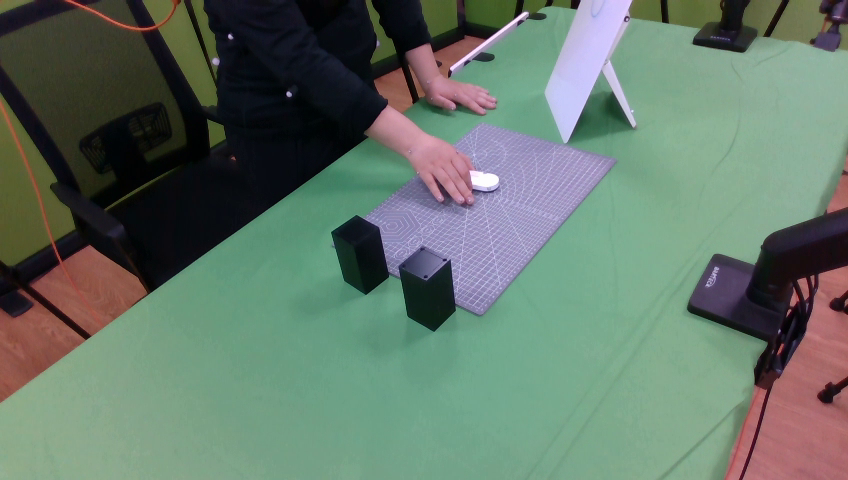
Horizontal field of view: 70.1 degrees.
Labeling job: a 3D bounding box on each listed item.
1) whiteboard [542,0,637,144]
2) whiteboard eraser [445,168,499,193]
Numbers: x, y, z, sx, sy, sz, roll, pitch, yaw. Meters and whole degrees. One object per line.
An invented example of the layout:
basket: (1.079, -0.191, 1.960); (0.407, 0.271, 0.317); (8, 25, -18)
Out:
whiteboard: (0.366, -0.351, 1.160); (0.144, 0.305, 0.216); (9, 39, -10)
whiteboard eraser: (0.086, -0.107, 1.082); (0.101, 0.019, 0.041); (12, 44, 22)
